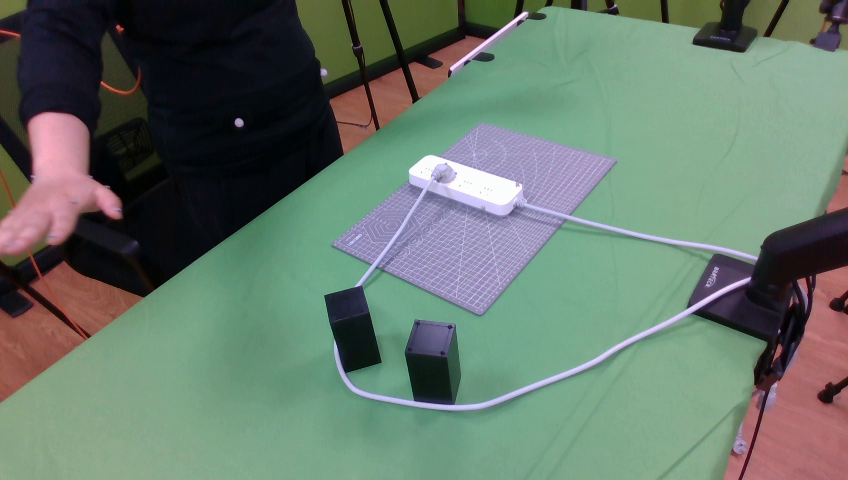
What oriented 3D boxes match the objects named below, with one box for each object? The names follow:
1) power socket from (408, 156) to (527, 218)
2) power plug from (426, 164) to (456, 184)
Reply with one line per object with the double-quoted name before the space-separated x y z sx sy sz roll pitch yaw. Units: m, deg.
"power socket" 0.070 -0.095 1.060 0.225 0.033 0.072 22 49 30
"power plug" 0.024 -0.103 1.047 0.073 0.053 0.035 -35 47 -26
